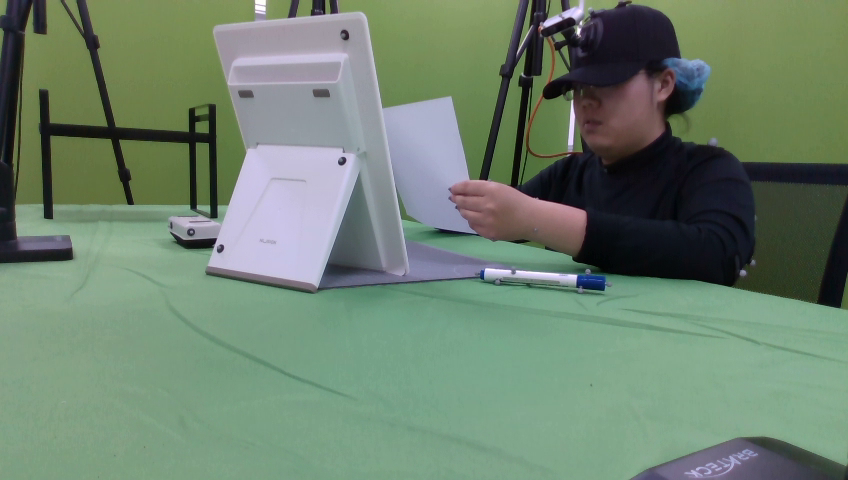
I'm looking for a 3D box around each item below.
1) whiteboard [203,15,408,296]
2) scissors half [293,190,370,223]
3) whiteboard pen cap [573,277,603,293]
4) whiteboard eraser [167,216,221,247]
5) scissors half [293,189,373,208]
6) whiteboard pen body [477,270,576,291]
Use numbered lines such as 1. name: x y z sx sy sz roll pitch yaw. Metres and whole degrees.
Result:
1. whiteboard: -0.166 -0.072 0.669 0.216 0.305 0.144 8 30 30
2. scissors half: -0.205 -0.077 1.338 0.175 0.040 0.013 22 11 -8
3. whiteboard pen cap: 0.186 0.051 0.687 0.033 0.018 0.018 3 7 18
4. whiteboard eraser: -0.350 -0.013 0.920 0.056 0.042 0.112 0 7 -35
5. scissors half: -0.201 -0.096 1.332 0.175 0.040 0.013 5 19 -4
6. whiteboard pen body: 0.131 0.048 0.706 0.140 0.017 0.017 4 8 18
